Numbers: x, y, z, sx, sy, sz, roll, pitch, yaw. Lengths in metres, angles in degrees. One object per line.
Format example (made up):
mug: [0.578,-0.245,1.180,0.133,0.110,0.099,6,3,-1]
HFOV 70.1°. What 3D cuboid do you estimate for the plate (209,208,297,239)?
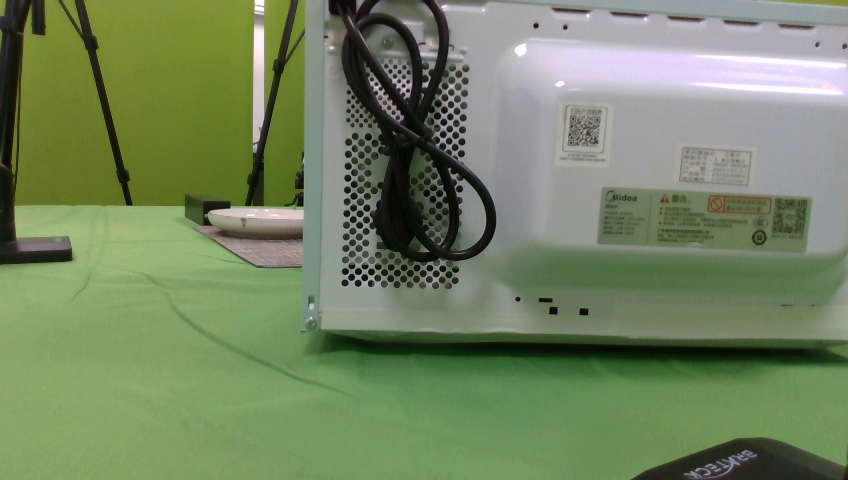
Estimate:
plate: [-0.271,-0.029,1.074,0.208,0.039,0.207,3,7,0]

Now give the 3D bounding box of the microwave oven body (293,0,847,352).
microwave oven body: [0.122,-0.055,0.550,0.442,0.260,0.325,3,7,-5]

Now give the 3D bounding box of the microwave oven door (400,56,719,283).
microwave oven door: [0.155,-0.078,0.698,0.356,0.243,0.039,2,8,-5]

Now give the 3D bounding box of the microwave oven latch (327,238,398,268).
microwave oven latch: [-0.070,0.015,0.693,0.079,0.029,0.030,3,7,-1]
